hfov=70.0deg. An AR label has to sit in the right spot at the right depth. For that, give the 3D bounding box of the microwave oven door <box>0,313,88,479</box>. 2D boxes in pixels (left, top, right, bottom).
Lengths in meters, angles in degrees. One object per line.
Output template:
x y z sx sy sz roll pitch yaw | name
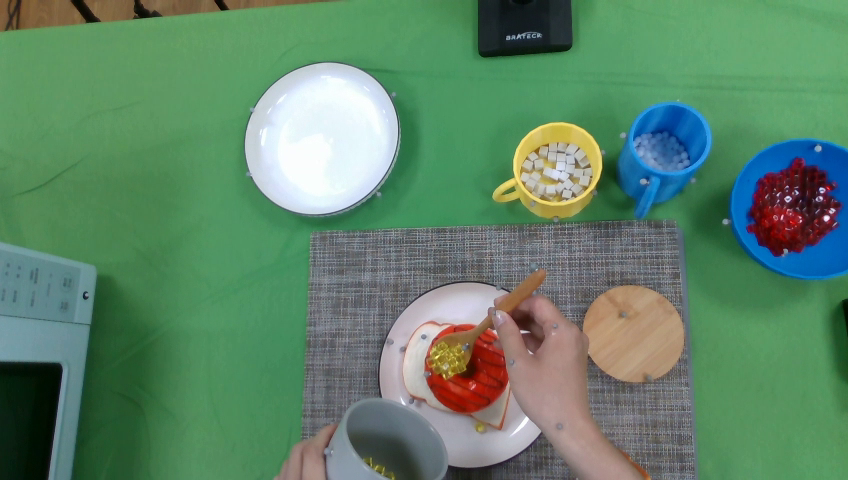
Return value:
-0.477 0.255 0.645 0.039 0.245 0.354 -1 79 10 | microwave oven door

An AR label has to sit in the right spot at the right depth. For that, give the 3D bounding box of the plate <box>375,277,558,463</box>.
0.049 0.147 0.698 0.209 0.038 0.208 -2 79 9 | plate

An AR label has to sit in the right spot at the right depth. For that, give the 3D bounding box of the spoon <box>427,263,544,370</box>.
0.057 0.078 0.589 0.041 0.194 0.021 46 47 6 | spoon

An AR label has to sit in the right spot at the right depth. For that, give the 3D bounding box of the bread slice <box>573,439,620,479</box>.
0.170 0.263 0.610 0.018 0.135 0.106 6 78 3 | bread slice

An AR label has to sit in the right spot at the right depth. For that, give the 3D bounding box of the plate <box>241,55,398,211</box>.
-0.133 -0.136 0.787 0.207 0.039 0.206 -2 79 9 | plate

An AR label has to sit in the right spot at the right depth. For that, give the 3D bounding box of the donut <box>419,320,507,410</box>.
0.043 0.138 0.673 0.099 0.048 0.098 -1 80 6 | donut

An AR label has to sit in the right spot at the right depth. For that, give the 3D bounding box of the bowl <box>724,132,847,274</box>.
0.397 -0.032 0.657 0.151 0.077 0.150 -2 79 10 | bowl

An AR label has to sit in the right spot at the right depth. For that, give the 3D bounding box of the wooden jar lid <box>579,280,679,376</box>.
0.231 0.100 0.686 0.108 0.021 0.108 -2 80 9 | wooden jar lid

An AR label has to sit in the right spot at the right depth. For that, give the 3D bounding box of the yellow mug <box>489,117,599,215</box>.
0.138 -0.079 0.716 0.131 0.064 0.099 -23 75 6 | yellow mug

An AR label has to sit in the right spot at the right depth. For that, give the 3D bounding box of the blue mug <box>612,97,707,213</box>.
0.254 -0.085 0.678 0.082 0.106 0.116 19 83 13 | blue mug

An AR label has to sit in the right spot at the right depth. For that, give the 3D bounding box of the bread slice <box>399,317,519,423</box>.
0.036 0.145 0.702 0.131 0.019 0.104 12 81 10 | bread slice

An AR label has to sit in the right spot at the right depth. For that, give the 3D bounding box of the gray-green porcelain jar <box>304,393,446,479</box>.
-0.054 0.227 0.569 0.105 0.106 0.127 34 112 14 | gray-green porcelain jar

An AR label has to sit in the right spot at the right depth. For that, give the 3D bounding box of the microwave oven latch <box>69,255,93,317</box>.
-0.452 0.059 0.783 0.030 0.029 0.079 2 80 10 | microwave oven latch

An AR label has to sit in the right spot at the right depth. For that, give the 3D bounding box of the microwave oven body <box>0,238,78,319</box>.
-0.618 0.215 0.681 0.325 0.261 0.440 0 80 9 | microwave oven body
